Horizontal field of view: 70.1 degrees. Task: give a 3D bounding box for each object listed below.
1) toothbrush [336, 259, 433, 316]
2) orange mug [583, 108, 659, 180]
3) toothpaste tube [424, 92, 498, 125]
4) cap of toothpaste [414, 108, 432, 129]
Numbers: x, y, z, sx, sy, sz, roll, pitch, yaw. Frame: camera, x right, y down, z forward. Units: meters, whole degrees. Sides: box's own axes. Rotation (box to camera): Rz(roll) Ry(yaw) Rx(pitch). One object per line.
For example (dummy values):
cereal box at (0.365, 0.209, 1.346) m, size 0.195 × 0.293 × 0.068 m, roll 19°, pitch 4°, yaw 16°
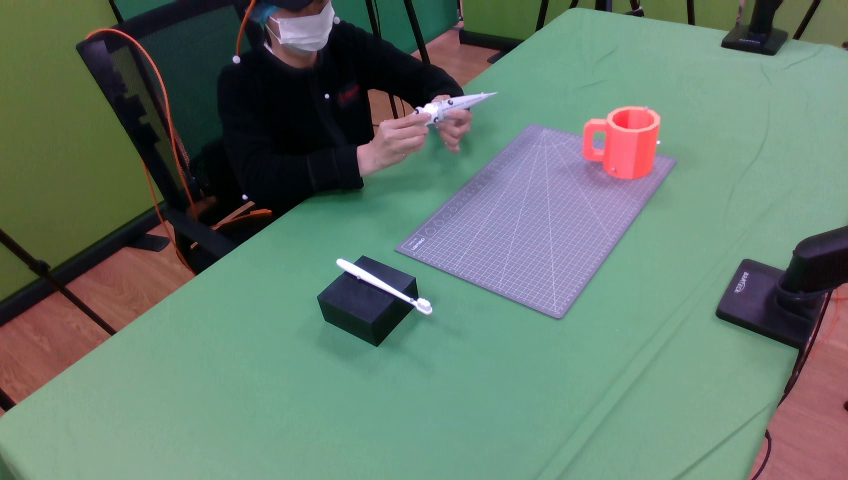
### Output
toothbrush at (-0.059, 0.062, 0.839) m, size 0.180 × 0.017 × 0.014 m, roll 24°, pitch 54°, yaw 33°
orange mug at (0.343, -0.171, 1.061) m, size 0.126 × 0.101 × 0.083 m, roll 10°, pitch 43°, yaw 15°
toothpaste tube at (0.058, -0.235, 1.057) m, size 0.166 × 0.034 × 0.054 m, roll -29°, pitch 23°, yaw -35°
cap of toothpaste at (-0.002, -0.205, 1.014) m, size 0.037 × 0.037 × 0.011 m, roll 28°, pitch 44°, yaw 35°
